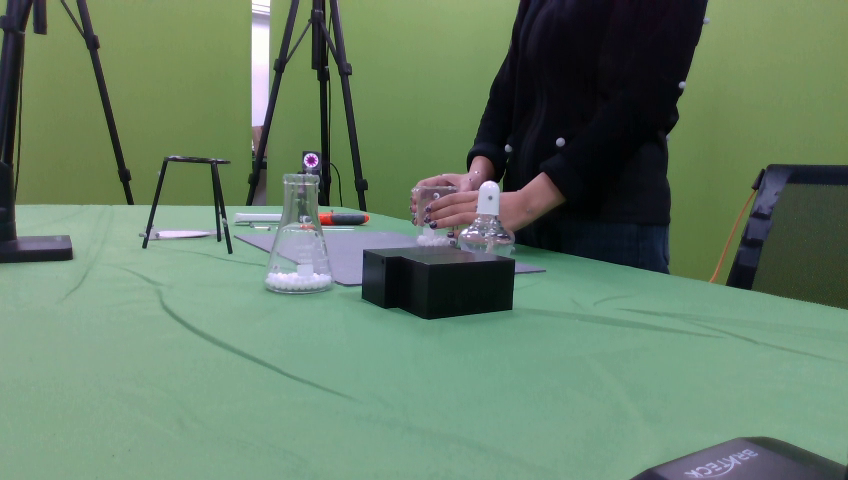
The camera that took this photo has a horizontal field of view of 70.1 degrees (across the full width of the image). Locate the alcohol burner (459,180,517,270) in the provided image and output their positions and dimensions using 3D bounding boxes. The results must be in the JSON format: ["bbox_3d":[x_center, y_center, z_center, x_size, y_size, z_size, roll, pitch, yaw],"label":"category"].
[{"bbox_3d":[0.086,-0.021,0.805,0.078,0.119,0.078,3,9,0],"label":"alcohol burner"}]

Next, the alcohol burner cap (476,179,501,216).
[{"bbox_3d":[0.086,-0.057,0.801,0.034,0.048,0.034,4,2,0],"label":"alcohol burner cap"}]

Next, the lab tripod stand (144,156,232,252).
[{"bbox_3d":[-0.325,-0.054,0.881,0.148,0.131,0.148,4,7,0],"label":"lab tripod stand"}]

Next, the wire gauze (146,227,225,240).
[{"bbox_3d":[-0.400,-0.012,1.019,0.122,0.011,0.124,-1,6,-26],"label":"wire gauze"}]

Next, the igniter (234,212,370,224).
[{"bbox_3d":[-0.247,-0.046,1.253,0.278,0.025,0.057,-1,-3,-27],"label":"igniter"}]

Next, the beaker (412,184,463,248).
[{"bbox_3d":[0.020,-0.040,0.981,0.084,0.100,0.074,2,6,12],"label":"beaker"}]

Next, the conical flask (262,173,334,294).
[{"bbox_3d":[-0.131,-0.009,0.633,0.075,0.122,0.075,2,8,0],"label":"conical flask"}]

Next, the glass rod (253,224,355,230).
[{"bbox_3d":[-0.226,-0.024,1.162,0.201,0.008,0.008,1,7,-29],"label":"glass rod"}]
